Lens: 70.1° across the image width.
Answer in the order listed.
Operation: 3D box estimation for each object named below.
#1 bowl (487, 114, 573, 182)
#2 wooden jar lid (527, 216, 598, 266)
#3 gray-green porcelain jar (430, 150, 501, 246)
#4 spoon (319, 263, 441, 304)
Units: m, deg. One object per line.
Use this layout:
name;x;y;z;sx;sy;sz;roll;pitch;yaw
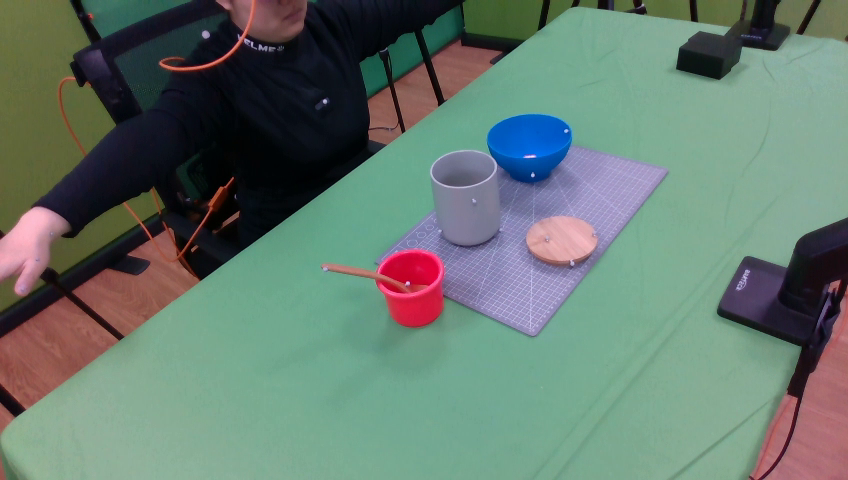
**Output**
bowl;0.190;-0.156;1.085;0.151;0.077;0.150;-5;40;5
wooden jar lid;0.214;0.003;0.937;0.108;0.021;0.108;-4;40;4
gray-green porcelain jar;0.068;-0.062;0.958;0.106;0.127;0.105;-5;40;5
spoon;-0.056;0.056;0.833;0.195;0.021;0.041;22;27;-35
